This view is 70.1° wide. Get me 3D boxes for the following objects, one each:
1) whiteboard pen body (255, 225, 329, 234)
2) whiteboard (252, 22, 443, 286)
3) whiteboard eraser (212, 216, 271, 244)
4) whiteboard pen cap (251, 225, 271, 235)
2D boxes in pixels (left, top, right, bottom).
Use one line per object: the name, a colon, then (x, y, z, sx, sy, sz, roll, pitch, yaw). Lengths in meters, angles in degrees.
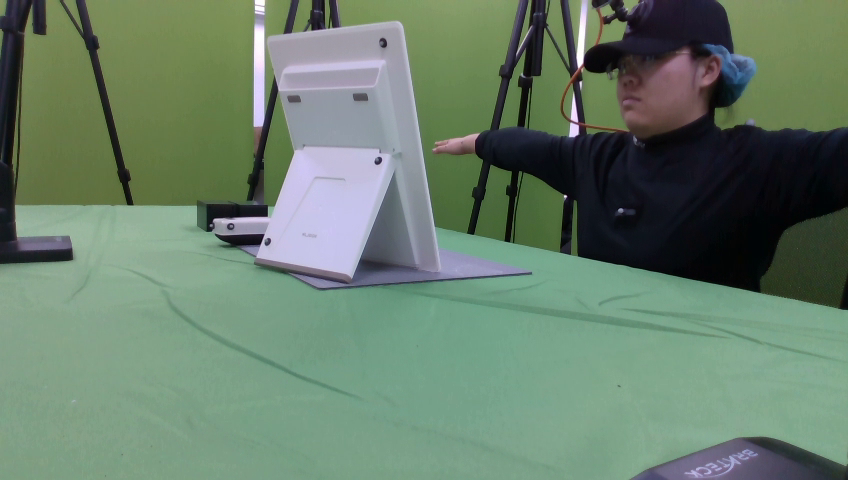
whiteboard pen body: (-0.239, -0.019, 1.105, 0.141, 0.017, 0.017, -2, 9, -34)
whiteboard: (-0.125, -0.081, 0.715, 0.216, 0.305, 0.144, 8, 29, 36)
whiteboard eraser: (-0.266, -0.016, 0.942, 0.113, 0.042, 0.055, -2, 10, -35)
whiteboard pen cap: (-0.288, -0.019, 1.071, 0.033, 0.018, 0.018, -3, 10, -34)
